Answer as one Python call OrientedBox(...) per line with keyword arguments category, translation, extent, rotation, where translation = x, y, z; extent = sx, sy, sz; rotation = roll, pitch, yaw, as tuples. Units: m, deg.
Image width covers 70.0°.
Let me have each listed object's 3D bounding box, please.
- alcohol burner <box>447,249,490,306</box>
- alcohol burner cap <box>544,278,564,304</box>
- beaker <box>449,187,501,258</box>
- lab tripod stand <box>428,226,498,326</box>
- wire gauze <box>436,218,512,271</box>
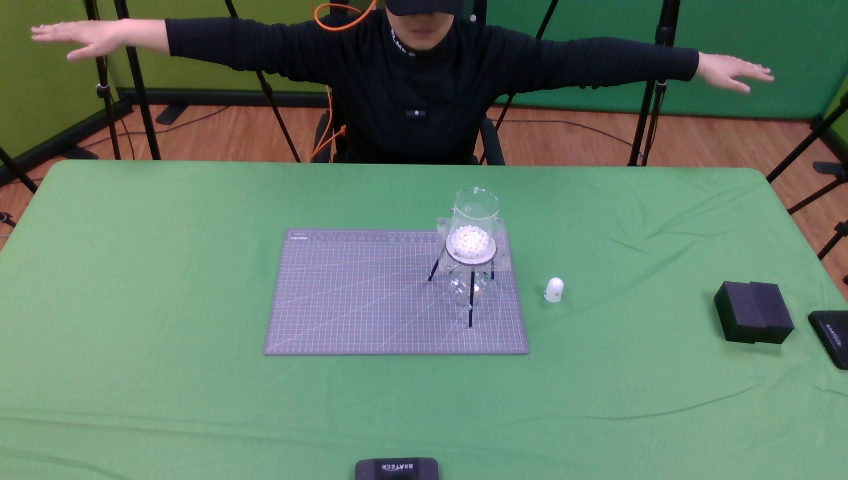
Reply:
OrientedBox(category="alcohol burner", translation=(0.079, 0.062, 1.078), extent=(0.078, 0.120, 0.077), rotation=(1, 45, -1))
OrientedBox(category="alcohol burner cap", translation=(0.241, 0.090, 1.117), extent=(0.034, 0.048, 0.033), rotation=(2, 45, -2))
OrientedBox(category="beaker", translation=(0.080, -0.027, 0.991), extent=(0.074, 0.101, 0.083), rotation=(3, 46, -3))
OrientedBox(category="lab tripod stand", translation=(0.079, 0.056, 1.070), extent=(0.148, 0.132, 0.147), rotation=(3, 47, -3))
OrientedBox(category="wire gauze", translation=(0.083, 0.007, 1.026), extent=(0.121, 0.011, 0.124), rotation=(3, 44, -5))
